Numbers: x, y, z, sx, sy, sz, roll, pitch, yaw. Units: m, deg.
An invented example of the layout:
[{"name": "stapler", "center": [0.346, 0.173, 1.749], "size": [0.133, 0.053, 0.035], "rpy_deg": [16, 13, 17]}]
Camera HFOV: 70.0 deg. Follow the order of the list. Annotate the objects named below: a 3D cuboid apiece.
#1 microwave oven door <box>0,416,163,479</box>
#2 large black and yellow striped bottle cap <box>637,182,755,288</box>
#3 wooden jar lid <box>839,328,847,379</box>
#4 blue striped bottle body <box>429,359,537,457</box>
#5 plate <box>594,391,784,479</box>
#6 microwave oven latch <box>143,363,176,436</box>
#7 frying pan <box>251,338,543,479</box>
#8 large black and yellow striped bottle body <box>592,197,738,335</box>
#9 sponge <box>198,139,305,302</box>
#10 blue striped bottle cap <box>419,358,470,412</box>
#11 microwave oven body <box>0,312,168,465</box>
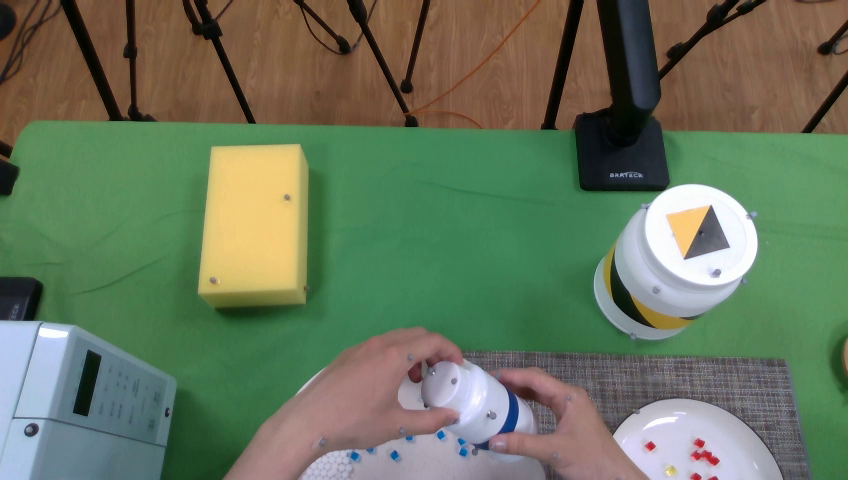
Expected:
[{"name": "microwave oven door", "center": [-0.318, 0.344, 0.517], "size": [0.039, 0.245, 0.353], "rpy_deg": [1, 67, 0]}, {"name": "large black and yellow striped bottle cap", "center": [0.279, -0.007, 0.624], "size": [0.115, 0.019, 0.114], "rpy_deg": [0, 66, 1]}, {"name": "wooden jar lid", "center": [0.561, 0.149, 0.742], "size": [0.108, 0.021, 0.107], "rpy_deg": [0, 69, 0]}, {"name": "blue striped bottle body", "center": [0.049, 0.153, 0.563], "size": [0.063, 0.122, 0.062], "rpy_deg": [-26, 43, 27]}, {"name": "plate", "center": [0.291, 0.275, 0.675], "size": [0.209, 0.038, 0.207], "rpy_deg": [0, 68, 0]}, {"name": "microwave oven latch", "center": [-0.307, 0.182, 0.695], "size": [0.030, 0.030, 0.078], "rpy_deg": [4, 68, 1]}, {"name": "frying pan", "center": [-0.030, 0.345, 0.610], "size": [0.307, 0.103, 0.483], "rpy_deg": [0, 59, 2]}, {"name": "large black and yellow striped bottle body", "center": [0.280, 0.026, 0.703], "size": [0.131, 0.185, 0.130], "rpy_deg": [0, 67, 0]}, {"name": "sponge", "center": [-0.219, -0.027, 0.789], "size": [0.118, 0.061, 0.205], "rpy_deg": [-3, 68, -2]}, {"name": "blue striped bottle cap", "center": [0.018, 0.126, 0.531], "size": [0.044, 0.021, 0.044], "rpy_deg": [-29, 38, 26]}, {"name": "microwave oven body", "center": [-0.462, 0.303, 0.540], "size": [0.326, 0.262, 0.438], "rpy_deg": [2, 68, 0]}]
